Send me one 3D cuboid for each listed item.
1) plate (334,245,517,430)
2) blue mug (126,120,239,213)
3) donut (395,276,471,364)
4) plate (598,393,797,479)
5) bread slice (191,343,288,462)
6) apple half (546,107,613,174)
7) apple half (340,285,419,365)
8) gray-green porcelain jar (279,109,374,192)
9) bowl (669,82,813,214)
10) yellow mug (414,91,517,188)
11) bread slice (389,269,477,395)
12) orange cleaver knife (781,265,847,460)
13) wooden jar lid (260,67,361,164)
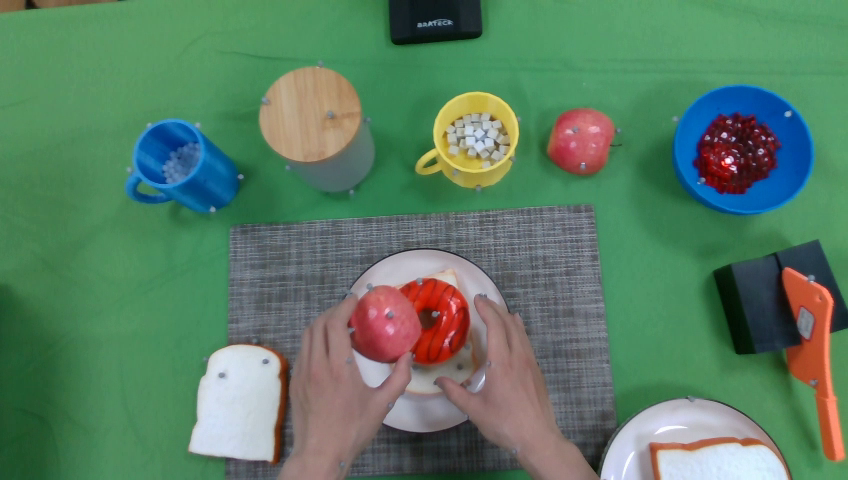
[{"bbox_3d":[0.002,0.111,0.699,0.207,0.039,0.206,-1,79,4],"label":"plate"},{"bbox_3d":[-0.294,-0.077,0.722,0.116,0.106,0.082,-29,78,-2],"label":"blue mug"},{"bbox_3d":[0.003,0.089,0.675,0.099,0.048,0.098,-1,79,3],"label":"donut"},{"bbox_3d":[0.290,0.271,0.654,0.209,0.038,0.208,-1,79,4],"label":"plate"},{"bbox_3d":[-0.213,0.187,0.707,0.105,0.019,0.131,4,80,4],"label":"bread slice"},{"bbox_3d":[0.189,-0.126,0.730,0.074,0.053,0.080,18,81,9],"label":"apple half"},{"bbox_3d":[-0.045,0.087,0.600,0.081,0.033,0.081,0,87,6],"label":"apple half"},{"bbox_3d":[-0.116,-0.118,0.709,0.106,0.127,0.105,-1,78,4],"label":"gray-green porcelain jar"},{"bbox_3d":[0.351,-0.096,0.701,0.151,0.077,0.150,-1,79,4],"label":"bowl"},{"bbox_3d":[0.047,-0.113,0.729,0.131,0.064,0.099,-27,78,-1],"label":"yellow mug"},{"bbox_3d":[0.006,0.109,0.699,0.107,0.018,0.133,-19,79,-1],"label":"bread slice"},{"bbox_3d":[0.417,0.131,0.651,0.012,0.077,0.212,-15,100,-6],"label":"orange cleaver knife"},{"bbox_3d":[-0.121,-0.131,0.649,0.108,0.021,0.108,-1,77,4],"label":"wooden jar lid"}]
